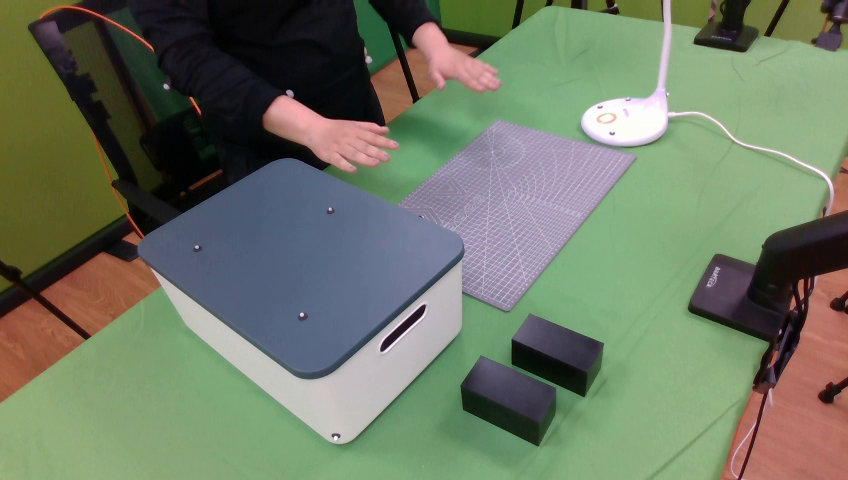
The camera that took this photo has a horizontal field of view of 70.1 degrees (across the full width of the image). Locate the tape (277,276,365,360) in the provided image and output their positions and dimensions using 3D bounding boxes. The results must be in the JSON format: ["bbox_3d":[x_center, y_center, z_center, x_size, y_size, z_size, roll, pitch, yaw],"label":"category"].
[{"bbox_3d":[-0.140,0.106,0.832,0.117,0.053,0.116,-4,41,4],"label":"tape"}]

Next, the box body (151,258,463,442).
[{"bbox_3d":[-0.152,0.064,0.807,0.361,0.161,0.255,26,51,33],"label":"box body"}]

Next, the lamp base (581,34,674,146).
[{"bbox_3d":[0.392,-0.291,1.129,0.180,0.181,0.159,-11,41,-8],"label":"lamp base"}]

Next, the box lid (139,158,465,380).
[{"bbox_3d":[-0.158,0.010,0.757,0.368,0.015,0.264,26,50,33],"label":"box lid"}]
